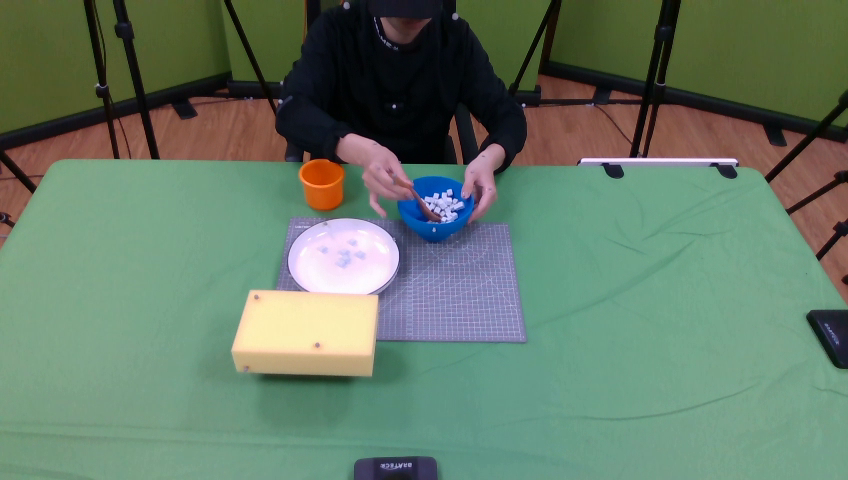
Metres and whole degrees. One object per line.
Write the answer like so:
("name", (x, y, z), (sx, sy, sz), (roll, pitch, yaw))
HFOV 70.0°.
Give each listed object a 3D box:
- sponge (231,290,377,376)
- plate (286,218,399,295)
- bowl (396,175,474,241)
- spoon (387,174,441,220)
("sponge", (-0.180, 0.144, 0.949), (0.207, 0.061, 0.117), (2, 46, -2))
("plate", (-0.150, 0.041, 1.131), (0.209, 0.038, 0.208), (2, 45, -2))
("bowl", (0.019, -0.051, 1.188), (0.151, 0.077, 0.150), (2, 43, -2))
("spoon", (-0.019, -0.080, 1.135), (0.041, 0.195, 0.021), (28, 81, 36))
